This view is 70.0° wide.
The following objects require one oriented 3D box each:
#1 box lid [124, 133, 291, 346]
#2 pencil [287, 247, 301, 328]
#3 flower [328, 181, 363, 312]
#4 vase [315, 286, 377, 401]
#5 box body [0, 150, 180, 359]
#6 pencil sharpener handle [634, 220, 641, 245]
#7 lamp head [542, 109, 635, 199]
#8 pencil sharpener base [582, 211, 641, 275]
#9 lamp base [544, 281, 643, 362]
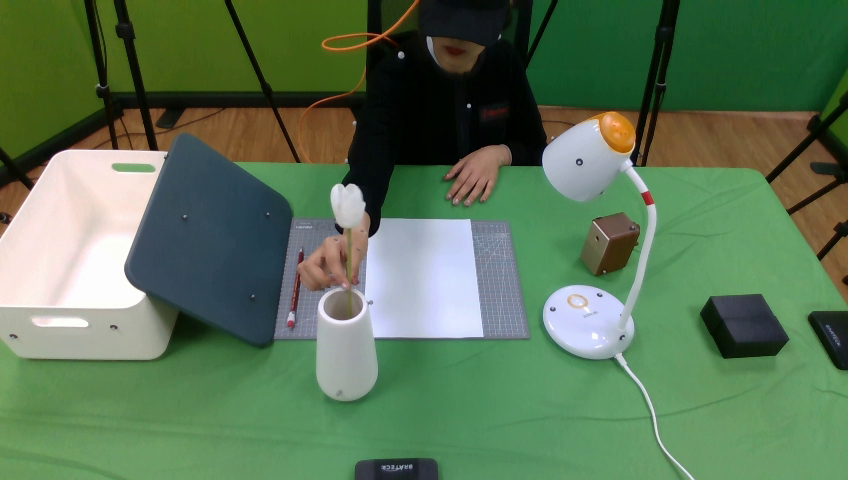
[{"bbox_3d":[-0.356,-0.012,1.064,0.015,0.265,0.369,-33,39,26],"label":"box lid"},{"bbox_3d":[-0.235,0.081,1.106,0.012,0.012,0.193,0,45,-4],"label":"pencil"},{"bbox_3d":[-0.108,0.087,0.867,0.044,0.363,0.038,7,27,11],"label":"flower"},{"bbox_3d":[-0.119,0.159,0.911,0.098,0.201,0.097,2,47,-2],"label":"vase"},{"bbox_3d":[-0.541,0.021,1.041,0.254,0.161,0.361,1,46,-3],"label":"box body"},{"bbox_3d":[0.405,-0.015,1.161,0.031,0.068,0.035,-15,43,-18],"label":"pencil sharpener handle"},{"bbox_3d":[0.253,-0.131,0.893,0.113,0.123,0.112,10,66,-24],"label":"lamp head"},{"bbox_3d":[0.357,0.005,1.155,0.077,0.107,0.061,-15,48,-18],"label":"pencil sharpener base"},{"bbox_3d":[0.304,0.095,1.014,0.161,0.181,0.178,-24,54,-24],"label":"lamp base"}]
